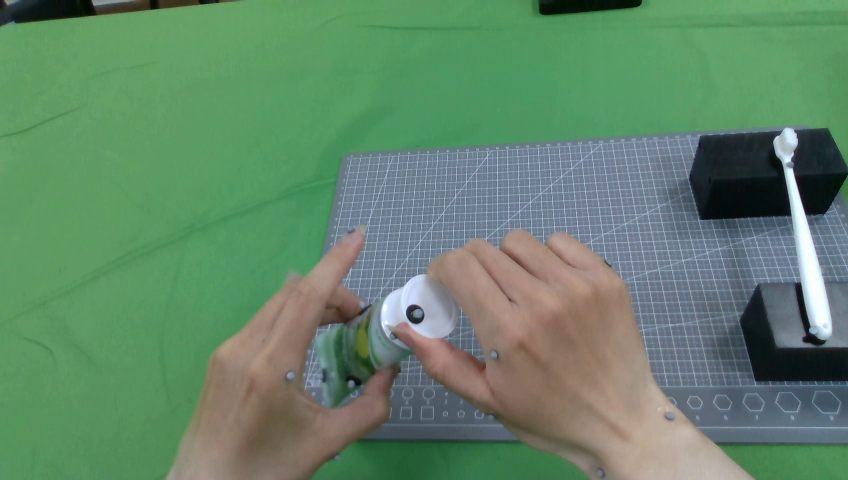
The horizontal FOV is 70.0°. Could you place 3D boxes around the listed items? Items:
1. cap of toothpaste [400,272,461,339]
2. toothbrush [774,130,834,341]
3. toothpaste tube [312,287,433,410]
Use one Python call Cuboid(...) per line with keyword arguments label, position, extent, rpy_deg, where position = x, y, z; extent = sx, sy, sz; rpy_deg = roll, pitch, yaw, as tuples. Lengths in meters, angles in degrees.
Cuboid(label="cap of toothpaste", position=(0.002, 0.034, 0.314), extent=(0.037, 0.011, 0.037), rpy_deg=(15, 60, -27))
Cuboid(label="toothbrush", position=(0.271, -0.011, 0.432), extent=(0.014, 0.017, 0.180), rpy_deg=(13, 56, 0))
Cuboid(label="toothpaste tube", position=(-0.037, 0.064, 0.376), extent=(0.035, 0.165, 0.054), rpy_deg=(4, 64, -31))
